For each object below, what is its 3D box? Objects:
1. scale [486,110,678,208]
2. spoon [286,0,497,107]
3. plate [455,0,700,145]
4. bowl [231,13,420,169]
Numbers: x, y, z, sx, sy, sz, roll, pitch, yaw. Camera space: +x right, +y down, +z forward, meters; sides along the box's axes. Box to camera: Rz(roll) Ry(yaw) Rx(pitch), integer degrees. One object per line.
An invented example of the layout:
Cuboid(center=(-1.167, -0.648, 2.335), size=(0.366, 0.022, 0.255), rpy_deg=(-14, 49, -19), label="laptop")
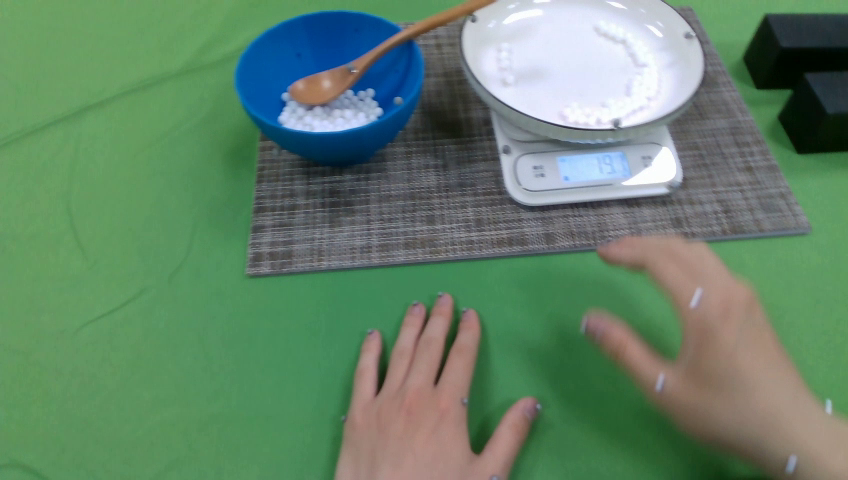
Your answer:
Cuboid(center=(0.131, -0.118, 0.545), size=(0.149, 0.032, 0.199), rpy_deg=(-5, 56, -3), label="scale")
Cuboid(center=(-0.028, -0.159, 0.504), size=(0.193, 0.022, 0.041), rpy_deg=(-27, 49, 9), label="spoon")
Cuboid(center=(0.129, -0.156, 0.531), size=(0.209, 0.038, 0.207), rpy_deg=(0, 55, 0), label="plate")
Cuboid(center=(-0.077, -0.114, 0.514), size=(0.151, 0.077, 0.150), rpy_deg=(0, 55, 1), label="bowl")
